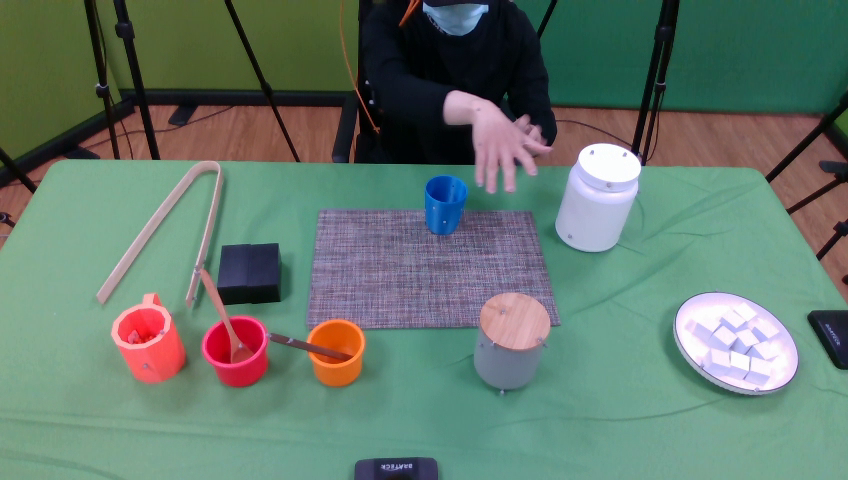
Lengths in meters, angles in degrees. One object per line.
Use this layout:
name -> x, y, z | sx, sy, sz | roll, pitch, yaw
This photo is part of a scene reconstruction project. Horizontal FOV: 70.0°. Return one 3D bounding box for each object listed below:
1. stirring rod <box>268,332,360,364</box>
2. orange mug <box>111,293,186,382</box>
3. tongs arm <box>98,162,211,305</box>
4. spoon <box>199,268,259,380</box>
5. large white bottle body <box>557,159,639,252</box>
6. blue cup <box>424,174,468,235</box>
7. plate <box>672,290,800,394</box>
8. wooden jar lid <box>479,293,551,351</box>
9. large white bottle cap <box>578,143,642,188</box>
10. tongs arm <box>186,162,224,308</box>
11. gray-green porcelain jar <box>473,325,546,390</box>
stirring rod -> -0.167, 0.169, 0.941 | 0.177, 0.006, 0.014 | 26, 26, -41
orange mug -> -0.435, 0.149, 0.969 | 0.083, 0.101, 0.125 | -5, 51, -8
tongs arm -> -0.519, -0.027, 1.184 | 0.028, 0.028, 0.385 | 5, 45, 13
spoon -> -0.312, 0.132, 0.962 | 0.041, 0.021, 0.194 | -24, 96, -22
large white bottle body -> 0.340, -0.081, 1.185 | 0.131, 0.185, 0.130 | 2, 46, -2
blue cup -> 0.039, -0.065, 1.201 | 0.093, 0.101, 0.092 | 3, 47, -3
plate -> 0.533, 0.178, 1.050 | 0.208, 0.039, 0.206 | 2, 46, -2
wooden jar lid -> 0.137, 0.127, 0.925 | 0.108, 0.021, 0.107 | 1, 47, -1
large white bottle cap -> 0.344, -0.139, 1.123 | 0.115, 0.018, 0.114 | 2, 46, -2
tongs arm -> -0.435, -0.025, 1.181 | 0.051, 0.027, 0.382 | -3, 45, 1
gray-green porcelain jar -> 0.135, 0.170, 0.969 | 0.106, 0.127, 0.105 | 2, 46, -2
